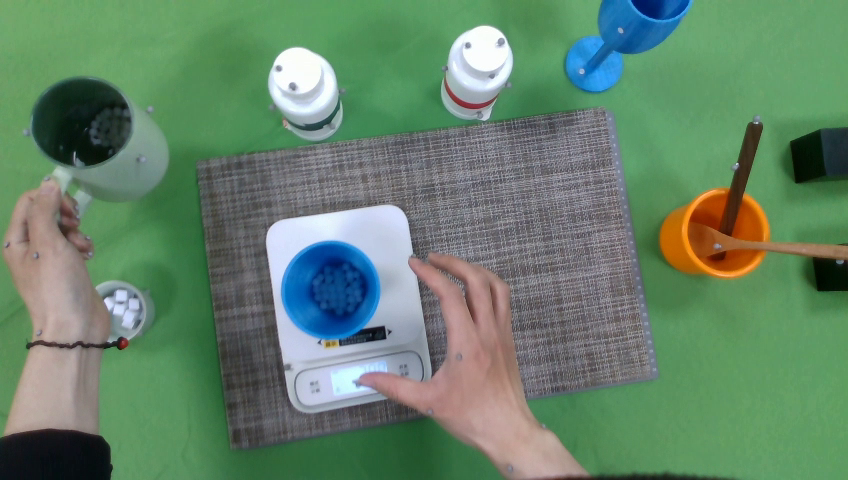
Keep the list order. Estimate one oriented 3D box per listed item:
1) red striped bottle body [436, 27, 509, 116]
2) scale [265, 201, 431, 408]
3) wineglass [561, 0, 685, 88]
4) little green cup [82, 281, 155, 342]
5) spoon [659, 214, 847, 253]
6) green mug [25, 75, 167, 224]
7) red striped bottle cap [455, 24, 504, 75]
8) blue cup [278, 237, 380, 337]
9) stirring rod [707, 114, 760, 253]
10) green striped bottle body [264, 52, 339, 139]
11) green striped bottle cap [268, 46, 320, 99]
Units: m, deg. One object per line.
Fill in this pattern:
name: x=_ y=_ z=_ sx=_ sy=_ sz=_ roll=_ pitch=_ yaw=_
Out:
red striped bottle body: x=0.048 y=-0.172 z=0.613 sx=0.063 sy=0.120 sz=0.063 roll=0 pitch=85 yaw=-4
scale: x=-0.078 y=0.066 z=0.626 sx=0.149 sy=0.031 sz=0.200 roll=-9 pitch=87 yaw=-4
wineglass: x=0.190 y=-0.210 z=0.598 sx=0.074 sy=0.172 sz=0.073 roll=0 pitch=85 yaw=-3
little green cup: x=-0.304 y=0.071 z=0.610 sx=0.061 sy=0.038 sz=0.061 roll=0 pitch=87 yaw=-5
spoon: x=0.334 y=0.000 z=0.606 sx=0.022 sy=0.192 sz=0.041 roll=1 pitch=95 yaw=-47
green mug: x=-0.290 y=-0.072 z=0.529 sx=0.093 sy=0.105 sz=0.125 roll=25 pitch=78 yaw=-6
red striped bottle cap: x=0.051 y=-0.176 z=0.559 sx=0.044 sy=0.018 sz=0.044 roll=1 pitch=82 yaw=-3
blue cup: x=-0.083 y=0.042 z=0.563 sx=0.093 sy=0.100 sz=0.092 roll=0 pitch=87 yaw=-4
stirring rod: x=0.307 y=-0.049 z=0.607 sx=0.014 sy=0.178 sz=0.005 roll=-1 pitch=45 yaw=10
green striped bottle body: x=-0.120 y=-0.144 z=0.599 sx=0.063 sy=0.119 sz=0.063 roll=0 pitch=85 yaw=-4
green striped bottle cap: x=-0.117 y=-0.150 z=0.543 sx=0.044 sy=0.020 sz=0.044 roll=0 pitch=85 yaw=-4
